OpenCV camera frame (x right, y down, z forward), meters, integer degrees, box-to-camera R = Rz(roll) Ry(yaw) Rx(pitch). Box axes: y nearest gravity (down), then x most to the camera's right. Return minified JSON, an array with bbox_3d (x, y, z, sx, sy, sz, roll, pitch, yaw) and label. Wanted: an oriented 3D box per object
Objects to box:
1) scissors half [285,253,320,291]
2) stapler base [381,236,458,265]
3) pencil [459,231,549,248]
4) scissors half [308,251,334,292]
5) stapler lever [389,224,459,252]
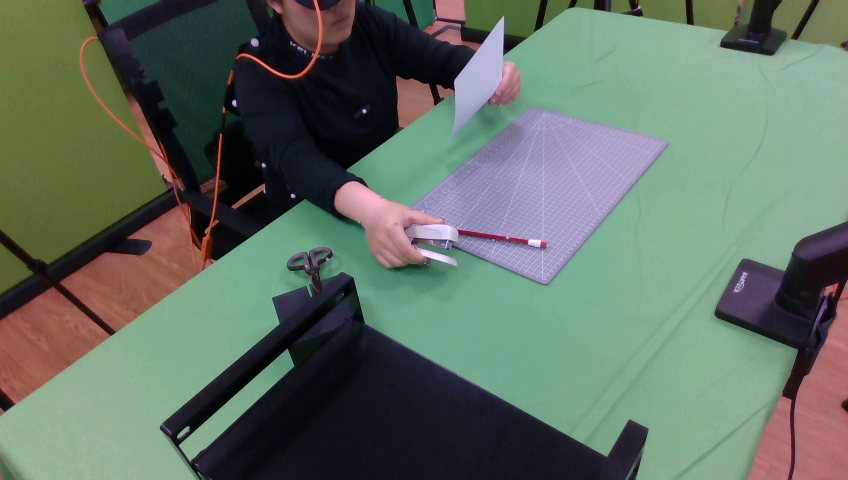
[{"bbox_3d":[-0.179,0.049,0.909,0.040,0.013,0.174,-15,19,-20],"label":"scissors half"},{"bbox_3d":[-0.004,0.013,0.933,0.129,0.042,0.024,12,81,34],"label":"stapler base"},{"bbox_3d":[0.103,-0.005,0.970,0.193,0.012,0.012,8,42,18],"label":"pencil"},{"bbox_3d":[-0.159,0.046,0.913,0.040,0.013,0.174,-4,17,-5],"label":"scissors half"},{"bbox_3d":[0.002,-0.010,0.935,0.117,0.027,0.040,14,82,35],"label":"stapler lever"}]
